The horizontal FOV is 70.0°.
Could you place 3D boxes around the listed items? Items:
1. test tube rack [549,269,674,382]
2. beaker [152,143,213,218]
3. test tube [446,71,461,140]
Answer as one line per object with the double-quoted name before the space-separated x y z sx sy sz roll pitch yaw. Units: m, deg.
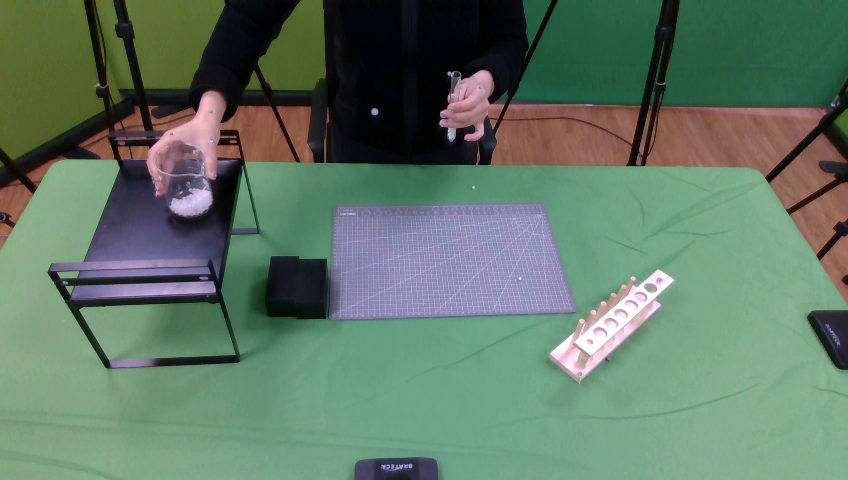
"test tube rack" 0.325 0.134 1.047 0.242 0.085 0.066 -32 55 -29
"beaker" -0.370 -0.089 0.947 0.084 0.101 0.074 29 52 15
"test tube" 0.048 -0.217 0.999 0.017 0.151 0.017 1 58 -1
